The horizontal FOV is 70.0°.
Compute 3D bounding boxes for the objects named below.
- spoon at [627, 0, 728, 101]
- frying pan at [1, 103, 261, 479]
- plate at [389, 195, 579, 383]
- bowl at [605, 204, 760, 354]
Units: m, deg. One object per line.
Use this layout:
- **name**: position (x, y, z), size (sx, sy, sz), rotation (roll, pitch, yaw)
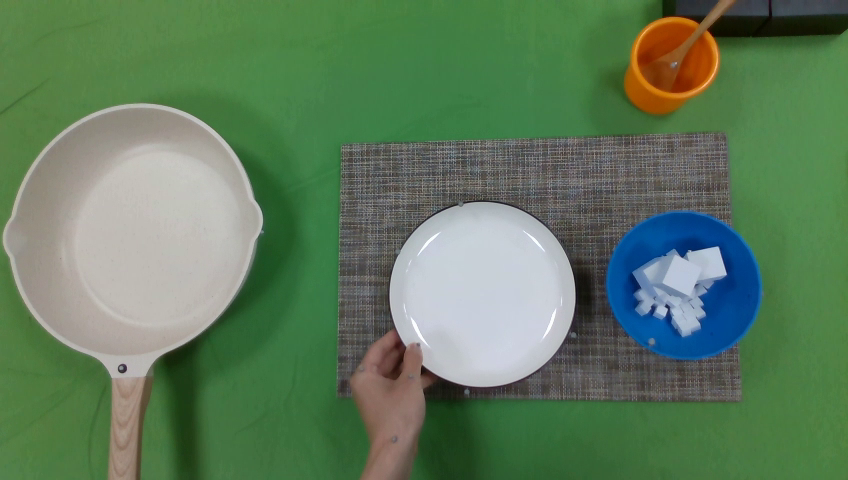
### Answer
- **spoon**: position (0.288, -0.224, 0.640), size (0.041, 0.194, 0.021), rotation (49, 45, 12)
- **frying pan**: position (-0.326, 0.089, 0.683), size (0.306, 0.103, 0.485), rotation (-3, 75, 6)
- **plate**: position (0.066, 0.054, 0.680), size (0.207, 0.039, 0.207), rotation (-1, 83, 5)
- **bowl**: position (0.262, 0.043, 0.643), size (0.151, 0.077, 0.151), rotation (-1, 83, 5)
